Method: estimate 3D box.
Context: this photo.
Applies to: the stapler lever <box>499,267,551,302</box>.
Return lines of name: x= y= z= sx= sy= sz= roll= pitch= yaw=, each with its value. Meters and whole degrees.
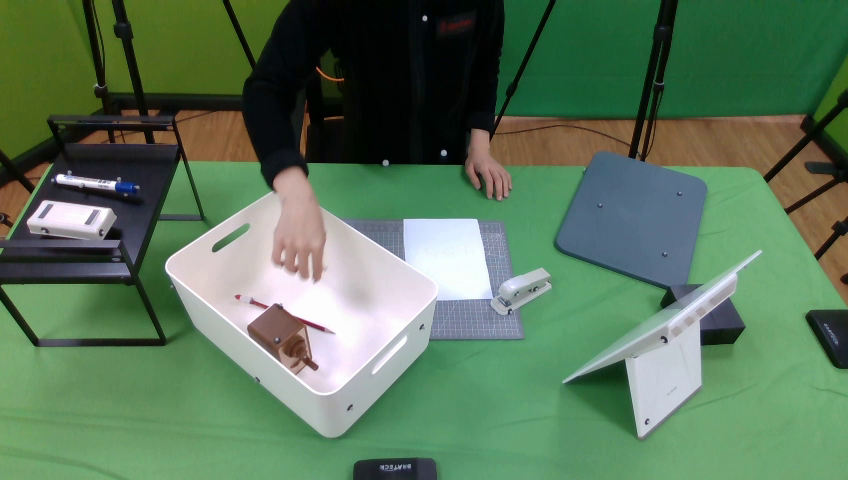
stapler lever: x=0.185 y=0.076 z=1.101 sx=0.118 sy=0.040 sz=0.026 roll=-25 pitch=57 yaw=-29

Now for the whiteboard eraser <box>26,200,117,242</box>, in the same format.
whiteboard eraser: x=-0.532 y=-0.026 z=0.919 sx=0.113 sy=0.042 sz=0.055 roll=7 pitch=45 yaw=3

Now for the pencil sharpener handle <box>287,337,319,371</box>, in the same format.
pencil sharpener handle: x=-0.182 y=0.178 z=0.928 sx=0.030 sy=0.068 sz=0.036 roll=32 pitch=68 yaw=23

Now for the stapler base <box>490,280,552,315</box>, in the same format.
stapler base: x=0.181 y=0.094 z=1.118 sx=0.130 sy=0.024 sz=0.041 roll=-24 pitch=56 yaw=-29

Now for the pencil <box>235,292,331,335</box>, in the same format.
pencil: x=-0.244 y=0.130 z=1.054 sx=0.194 sy=0.012 sz=0.012 roll=21 pitch=49 yaw=11

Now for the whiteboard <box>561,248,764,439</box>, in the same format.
whiteboard: x=0.386 y=0.176 z=0.905 sx=0.217 sy=0.306 sz=0.143 roll=-26 pitch=72 yaw=-27

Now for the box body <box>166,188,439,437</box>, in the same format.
box body: x=-0.190 y=0.108 z=0.980 sx=0.362 sy=0.161 sz=0.254 roll=32 pitch=52 yaw=24

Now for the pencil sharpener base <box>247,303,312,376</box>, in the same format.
pencil sharpener base: x=-0.224 y=0.165 z=0.955 sx=0.076 sy=0.107 sz=0.061 roll=32 pitch=54 yaw=23

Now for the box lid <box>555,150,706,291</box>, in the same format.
box lid: x=0.451 y=-0.059 z=1.297 sx=0.263 sy=0.015 sz=0.370 roll=20 pitch=49 yaw=14

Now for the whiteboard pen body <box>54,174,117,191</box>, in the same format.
whiteboard pen body: x=-0.541 y=-0.093 z=0.993 sx=0.140 sy=0.017 sz=0.017 roll=7 pitch=46 yaw=9

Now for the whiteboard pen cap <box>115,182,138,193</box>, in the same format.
whiteboard pen cap: x=-0.483 y=-0.086 z=0.984 sx=0.033 sy=0.018 sz=0.018 roll=7 pitch=46 yaw=10
